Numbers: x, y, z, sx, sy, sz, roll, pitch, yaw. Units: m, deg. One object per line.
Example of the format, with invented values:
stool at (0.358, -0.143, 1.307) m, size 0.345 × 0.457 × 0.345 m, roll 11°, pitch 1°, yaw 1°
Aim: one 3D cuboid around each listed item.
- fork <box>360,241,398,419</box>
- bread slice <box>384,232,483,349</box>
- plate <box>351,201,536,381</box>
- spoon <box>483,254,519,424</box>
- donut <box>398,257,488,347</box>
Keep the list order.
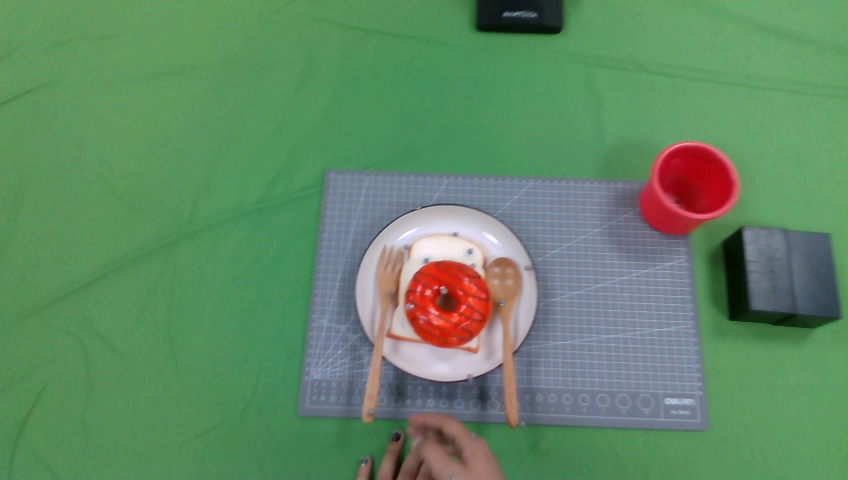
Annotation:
fork at (-0.051, 0.093, 0.666) m, size 0.028 × 0.019 × 0.205 m, roll 13°, pitch 58°, yaw -11°
bread slice at (0.015, 0.053, 0.696) m, size 0.105 × 0.019 × 0.131 m, roll 8°, pitch 72°, yaw 1°
plate at (0.022, 0.057, 0.692) m, size 0.209 × 0.038 × 0.207 m, roll 0°, pitch 71°, yaw -1°
spoon at (0.087, 0.102, 0.662) m, size 0.041 × 0.022 × 0.192 m, roll -2°, pitch 58°, yaw 5°
donut at (0.021, 0.067, 0.660) m, size 0.099 × 0.048 × 0.098 m, roll 1°, pitch 74°, yaw -3°
